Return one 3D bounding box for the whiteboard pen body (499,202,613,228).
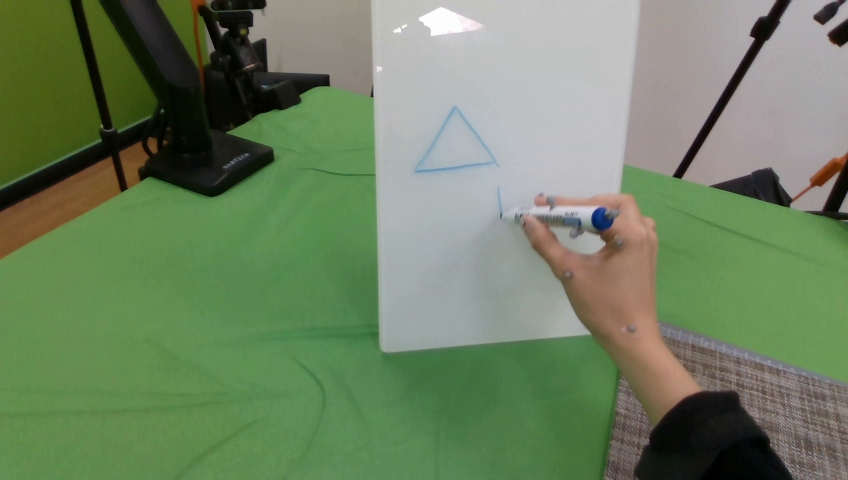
[{"bbox_3d":[0.091,-0.019,0.451,0.017,0.017,0.140,-12,7,-21],"label":"whiteboard pen body"}]

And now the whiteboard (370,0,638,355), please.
[{"bbox_3d":[0.055,-0.071,0.569,0.218,0.307,0.143,-3,18,-10],"label":"whiteboard"}]
